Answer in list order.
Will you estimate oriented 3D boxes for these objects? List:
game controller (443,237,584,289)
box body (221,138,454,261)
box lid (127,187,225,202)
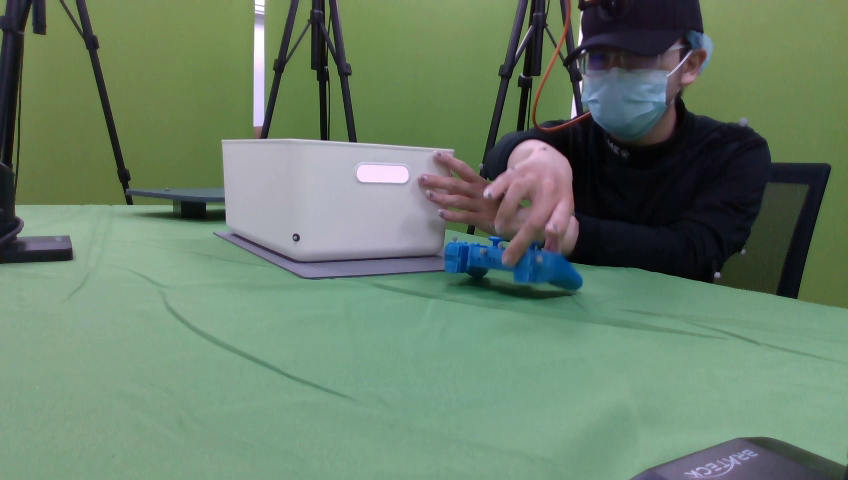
[{"bbox_3d":[0.095,0.023,0.687,0.154,0.051,0.097,5,0,40],"label":"game controller"},{"bbox_3d":[-0.152,-0.074,0.963,0.255,0.160,0.362,-3,9,-33],"label":"box body"},{"bbox_3d":[-0.449,-0.106,1.393,0.262,0.015,0.373,6,8,28],"label":"box lid"}]
